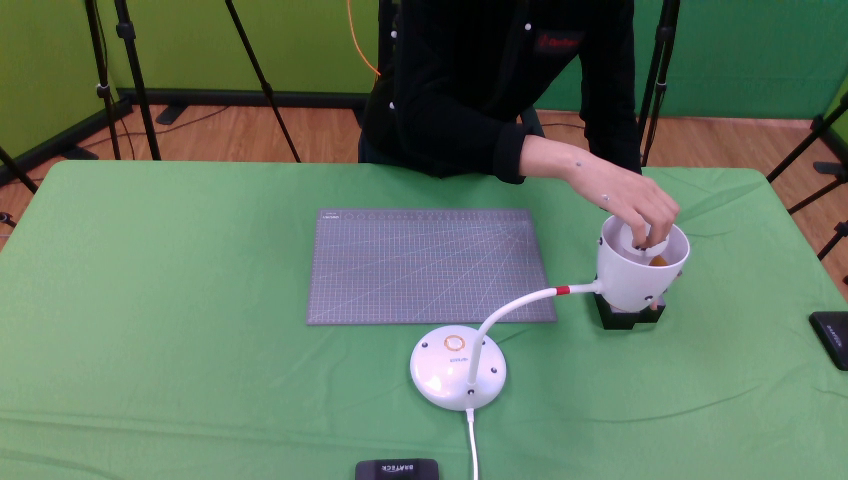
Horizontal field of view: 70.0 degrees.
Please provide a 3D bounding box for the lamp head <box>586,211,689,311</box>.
[{"bbox_3d":[0.280,0.039,0.820,0.112,0.123,0.111,6,41,-5],"label":"lamp head"}]

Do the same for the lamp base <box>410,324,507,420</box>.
[{"bbox_3d":[0.064,0.163,0.937,0.161,0.181,0.178,-10,51,-13],"label":"lamp base"}]

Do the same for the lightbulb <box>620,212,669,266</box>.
[{"bbox_3d":[0.286,0.012,0.803,0.059,0.108,0.059,1,40,0],"label":"lightbulb"}]
